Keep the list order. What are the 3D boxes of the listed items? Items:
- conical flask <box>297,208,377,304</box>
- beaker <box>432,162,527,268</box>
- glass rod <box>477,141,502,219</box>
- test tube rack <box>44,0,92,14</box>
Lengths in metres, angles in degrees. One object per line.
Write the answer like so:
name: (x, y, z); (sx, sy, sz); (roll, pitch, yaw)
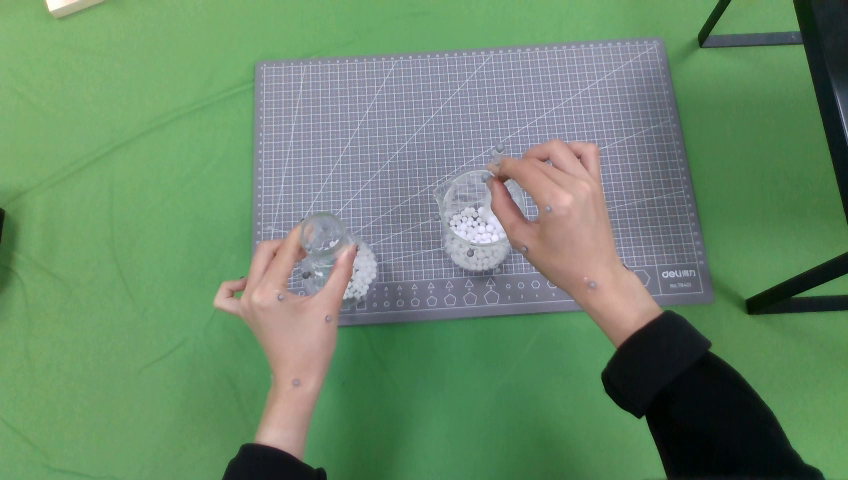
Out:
conical flask: (-0.083, 0.009, 0.538); (0.075, 0.122, 0.075); (0, 72, -1)
beaker: (0.048, -0.019, 0.562); (0.084, 0.101, 0.073); (20, 74, 8)
glass rod: (0.053, -0.045, 0.508); (0.008, 0.200, 0.008); (0, 78, 1)
test tube rack: (-0.328, -0.347, 0.673); (0.242, 0.085, 0.066); (-24, 74, -6)
